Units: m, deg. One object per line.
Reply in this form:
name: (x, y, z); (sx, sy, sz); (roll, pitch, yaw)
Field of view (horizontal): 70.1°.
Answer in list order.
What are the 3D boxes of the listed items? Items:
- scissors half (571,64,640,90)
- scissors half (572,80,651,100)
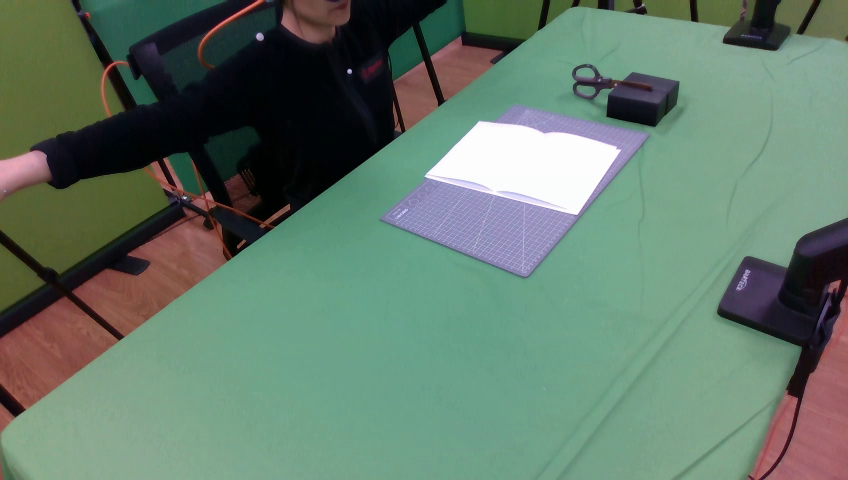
scissors half: (0.378, -0.327, 1.229); (0.174, 0.040, 0.013); (25, 48, 33)
scissors half: (0.382, -0.309, 1.239); (0.174, 0.040, 0.013); (9, 32, 45)
